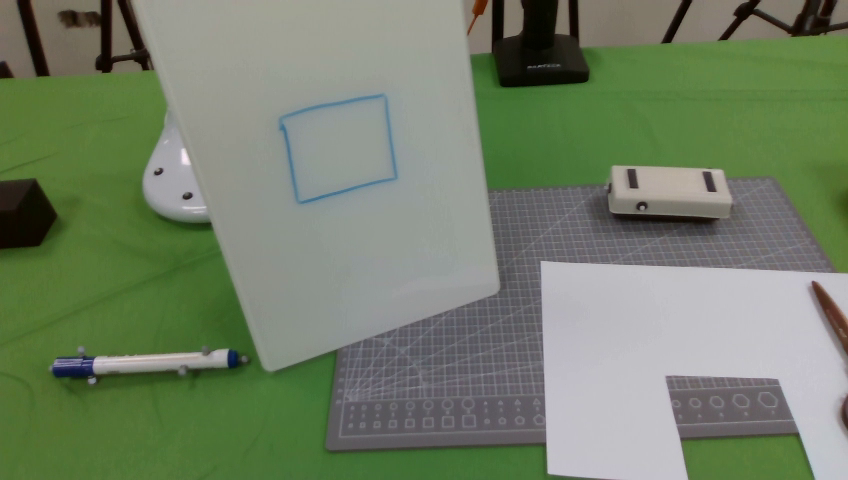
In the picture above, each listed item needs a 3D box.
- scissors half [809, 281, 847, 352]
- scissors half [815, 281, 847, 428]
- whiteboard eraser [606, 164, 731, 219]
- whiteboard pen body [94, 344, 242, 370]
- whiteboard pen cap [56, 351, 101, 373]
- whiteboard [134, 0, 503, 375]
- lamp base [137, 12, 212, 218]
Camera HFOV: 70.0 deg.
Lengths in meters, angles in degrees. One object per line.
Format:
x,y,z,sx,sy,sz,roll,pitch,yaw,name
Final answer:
0.356,0.093,0.474,0.040,0.013,0.173,-9,42,-4,scissors half
0.335,0.095,0.476,0.040,0.013,0.174,0,42,14,scissors half
0.242,-0.047,0.608,0.112,0.042,0.055,3,43,7,whiteboard eraser
-0.224,0.099,0.504,0.141,0.017,0.017,-2,44,-4,whiteboard pen body
-0.284,0.101,0.501,0.033,0.018,0.018,-1,43,-6,whiteboard pen cap
-0.076,-0.080,0.518,0.217,0.308,0.142,-17,26,-12,whiteboard
-0.247,-0.140,0.640,0.177,0.182,0.160,28,52,32,lamp base
